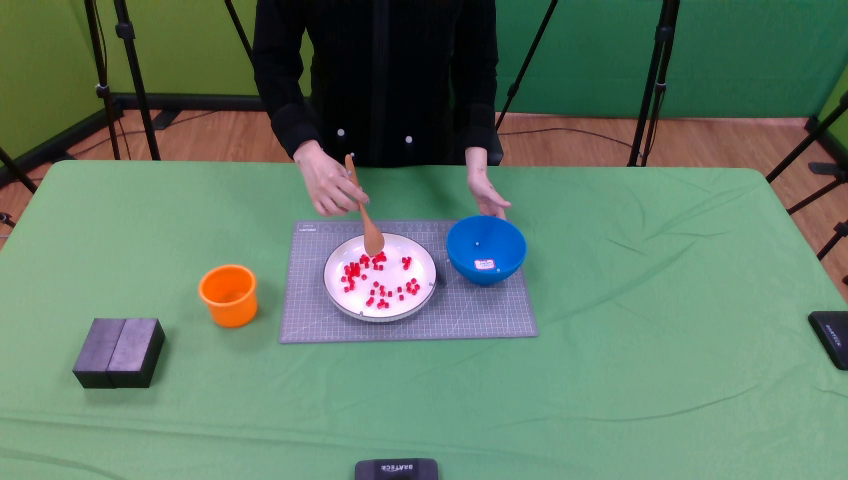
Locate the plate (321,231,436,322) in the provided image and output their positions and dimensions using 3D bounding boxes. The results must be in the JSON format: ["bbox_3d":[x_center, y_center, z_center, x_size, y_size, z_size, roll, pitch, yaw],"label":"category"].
[{"bbox_3d":[-0.083,0.070,1.109,0.209,0.038,0.208,3,46,-3],"label":"plate"}]

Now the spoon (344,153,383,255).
[{"bbox_3d":[-0.109,-0.058,1.046,0.041,0.194,0.021,-25,24,-20],"label":"spoon"}]

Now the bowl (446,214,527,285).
[{"bbox_3d":[0.112,0.031,1.134,0.151,0.077,0.150,2,46,-2],"label":"bowl"}]
